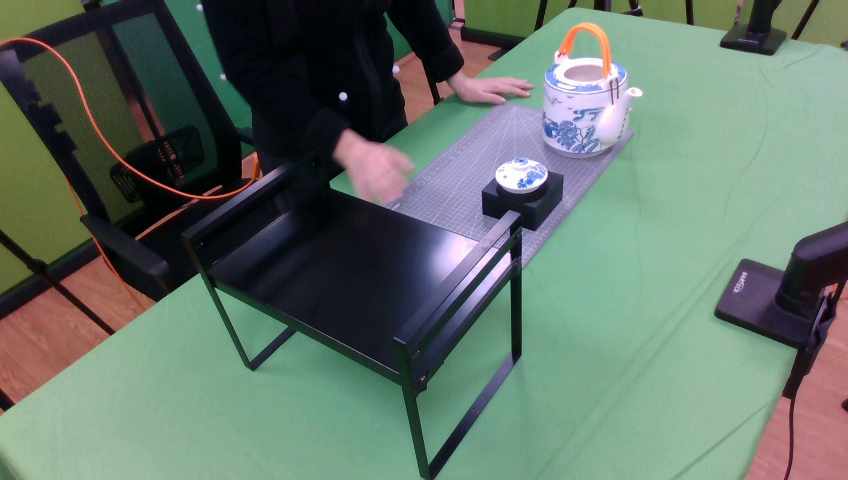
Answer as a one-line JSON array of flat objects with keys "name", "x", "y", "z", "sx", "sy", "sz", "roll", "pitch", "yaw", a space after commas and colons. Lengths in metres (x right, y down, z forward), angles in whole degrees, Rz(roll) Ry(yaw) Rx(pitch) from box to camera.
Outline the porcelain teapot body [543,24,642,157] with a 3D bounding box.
[{"name": "porcelain teapot body", "x": 0.306, "y": -0.258, "z": 1.070, "sx": 0.146, "sy": 0.226, "sz": 0.203, "roll": -26, "pitch": 44, "yaw": -20}]

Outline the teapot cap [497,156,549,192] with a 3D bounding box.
[{"name": "teapot cap", "x": 0.161, "y": -0.113, "z": 0.986, "sx": 0.085, "sy": 0.044, "sz": 0.084, "roll": -2, "pitch": 43, "yaw": 2}]
